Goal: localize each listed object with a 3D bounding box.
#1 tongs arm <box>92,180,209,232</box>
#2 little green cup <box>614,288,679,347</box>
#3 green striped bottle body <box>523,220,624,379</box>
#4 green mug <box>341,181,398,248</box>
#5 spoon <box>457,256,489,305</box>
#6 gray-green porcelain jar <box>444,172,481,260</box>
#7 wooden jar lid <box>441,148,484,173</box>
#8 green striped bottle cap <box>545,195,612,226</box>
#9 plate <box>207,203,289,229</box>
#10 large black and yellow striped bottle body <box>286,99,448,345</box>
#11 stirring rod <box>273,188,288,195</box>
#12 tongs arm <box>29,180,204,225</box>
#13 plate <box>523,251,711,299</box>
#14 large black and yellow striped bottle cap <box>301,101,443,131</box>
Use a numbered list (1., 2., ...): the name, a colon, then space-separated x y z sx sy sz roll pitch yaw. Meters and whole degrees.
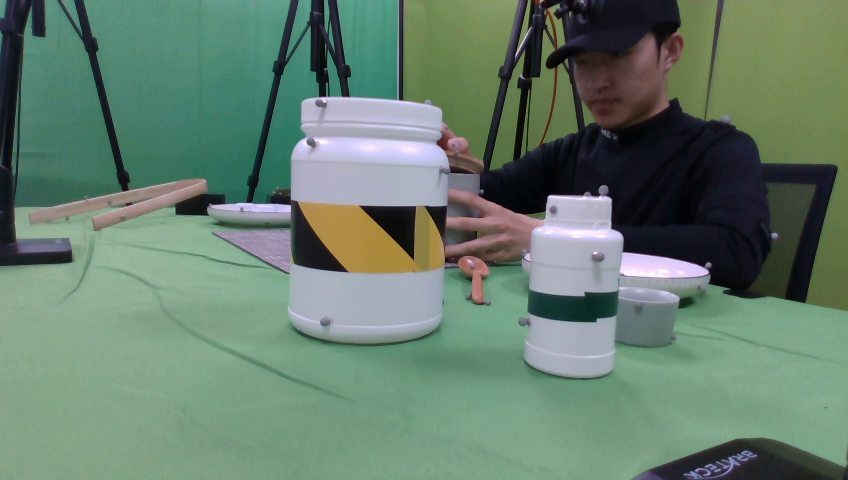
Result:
1. tongs arm: -0.534 -0.076 1.221 0.028 0.028 0.388 -2 15 12
2. little green cup: 0.180 0.064 0.506 0.061 0.038 0.061 2 8 0
3. green striped bottle body: 0.104 0.031 0.422 0.063 0.119 0.063 3 7 0
4. green mug: -0.090 -0.044 0.996 0.093 0.105 0.125 0 7 -9
5. spoon: 0.059 0.044 0.696 0.041 0.021 0.194 20 7 0
6. gray-green porcelain jar: 0.029 -0.038 0.892 0.106 0.126 0.106 1 7 0
7. wooden jar lid: 0.033 -0.110 0.881 0.108 0.020 0.108 10 -6 1
8. green striped bottle cap: 0.106 -0.020 0.414 0.044 0.020 0.044 2 4 0
9. plate: -0.342 -0.050 1.259 0.208 0.039 0.207 2 7 0
10. large black and yellow striped bottle body: -0.047 -0.018 0.501 0.131 0.184 0.130 2 7 0
11. stirring rod: -0.353 -0.122 1.519 0.006 0.014 0.176 1 7 1
12. tongs arm: -0.609 -0.083 1.245 0.050 0.026 0.386 5 16 23
13. plate: 0.219 0.042 0.706 0.209 0.038 0.209 2 7 0
14. large black and yellow striped bottle cap: -0.042 -0.100 0.491 0.115 0.019 0.115 1 8 0
